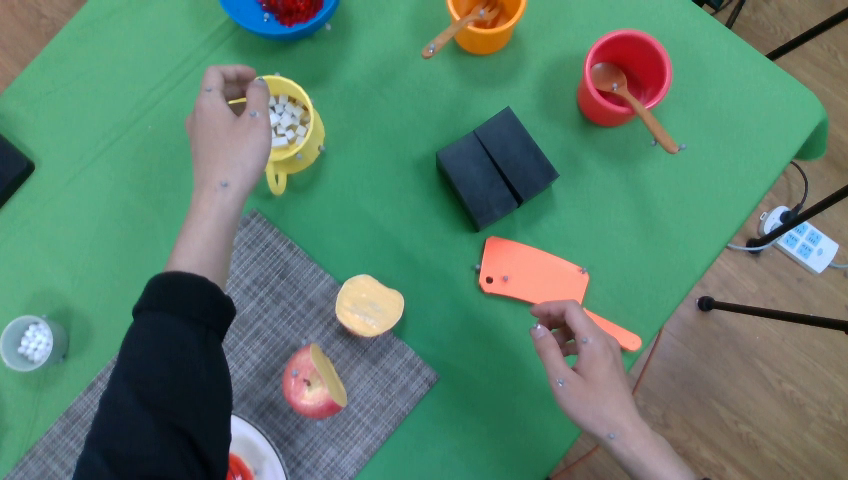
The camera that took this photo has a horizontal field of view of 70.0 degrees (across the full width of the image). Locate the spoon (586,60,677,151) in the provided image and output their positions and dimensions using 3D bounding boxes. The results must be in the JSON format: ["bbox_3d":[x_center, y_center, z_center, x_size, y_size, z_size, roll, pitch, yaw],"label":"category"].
[{"bbox_3d":[0.227,-0.152,0.669,0.041,0.191,0.022,-15,129,0],"label":"spoon"}]

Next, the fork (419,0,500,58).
[{"bbox_3d":[0.042,-0.243,0.677,0.028,0.019,0.206,34,41,4],"label":"fork"}]

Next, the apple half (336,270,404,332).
[{"bbox_3d":[-0.066,0.077,0.696,0.081,0.033,0.080,8,51,-10],"label":"apple half"}]

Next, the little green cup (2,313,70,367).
[{"bbox_3d":[-0.445,0.115,0.700,0.061,0.039,0.061,0,84,1],"label":"little green cup"}]

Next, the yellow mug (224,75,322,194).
[{"bbox_3d":[-0.174,-0.119,0.708,0.100,0.064,0.130,-2,85,0],"label":"yellow mug"}]

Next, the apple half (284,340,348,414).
[{"bbox_3d":[-0.125,0.157,0.671,0.053,0.075,0.080,-31,87,1],"label":"apple half"}]

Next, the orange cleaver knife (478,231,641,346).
[{"bbox_3d":[0.160,0.056,0.709,0.211,0.012,0.077,25,79,5],"label":"orange cleaver knife"}]

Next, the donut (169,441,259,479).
[{"bbox_3d":[-0.231,0.271,0.666,0.099,0.048,0.099,0,86,0],"label":"donut"}]

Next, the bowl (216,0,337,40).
[{"bbox_3d":[-0.167,-0.299,0.721,0.151,0.077,0.151,0,84,1],"label":"bowl"}]

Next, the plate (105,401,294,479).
[{"bbox_3d":[-0.246,0.282,0.676,0.209,0.038,0.208,0,84,1],"label":"plate"}]
